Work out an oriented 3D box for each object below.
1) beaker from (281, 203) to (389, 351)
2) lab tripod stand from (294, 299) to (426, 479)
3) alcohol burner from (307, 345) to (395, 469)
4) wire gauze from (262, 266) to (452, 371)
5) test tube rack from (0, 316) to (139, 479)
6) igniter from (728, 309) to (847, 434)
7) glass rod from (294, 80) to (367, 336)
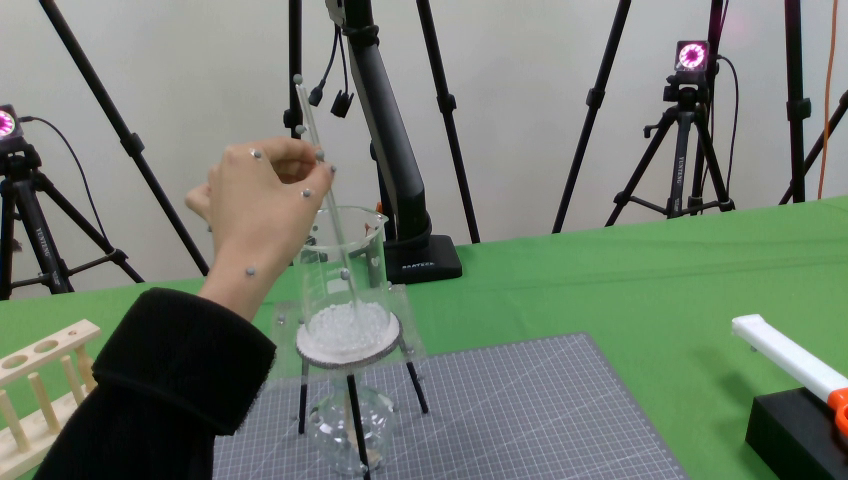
[{"bbox_3d":[-0.064,0.029,0.481,0.084,0.101,0.073,-18,31,-26],"label":"beaker"},{"bbox_3d":[-0.057,0.132,0.531,0.148,0.132,0.147,-2,28,1],"label":"lab tripod stand"},{"bbox_3d":[-0.066,0.142,0.535,0.078,0.120,0.077,-2,26,1],"label":"alcohol burner"},{"bbox_3d":[-0.058,0.061,0.491,0.125,0.011,0.120,-13,26,-27],"label":"wire gauze"},{"bbox_3d":[-0.406,0.172,0.564,0.066,0.086,0.242,16,33,34],"label":"test tube rack"},{"bbox_3d":[0.346,0.130,0.492,0.057,0.025,0.274,-9,23,-8],"label":"igniter"},{"bbox_3d":[-0.068,-0.017,0.449,0.008,0.201,0.008,-11,18,4],"label":"glass rod"}]
